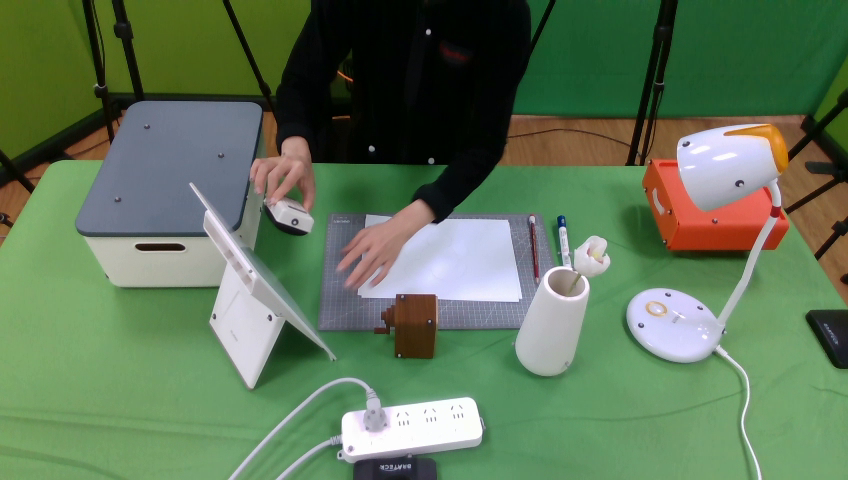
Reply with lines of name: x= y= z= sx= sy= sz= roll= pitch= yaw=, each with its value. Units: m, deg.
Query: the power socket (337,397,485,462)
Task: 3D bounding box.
power socket: x=-0.018 y=0.285 z=0.915 sx=0.227 sy=0.033 sz=0.071 roll=-5 pitch=46 yaw=-8

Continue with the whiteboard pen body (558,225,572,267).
whiteboard pen body: x=0.280 y=0.010 z=1.207 sx=0.017 sy=0.017 sz=0.140 roll=3 pitch=50 yaw=-1

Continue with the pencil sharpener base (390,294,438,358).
pencil sharpener base: x=-0.018 y=0.142 z=1.000 sx=0.077 sy=0.107 sz=0.061 roll=1 pitch=47 yaw=-2

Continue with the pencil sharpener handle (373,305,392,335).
pencil sharpener handle: x=-0.069 y=0.133 z=0.989 sx=0.030 sy=0.068 sz=0.036 roll=1 pitch=46 yaw=-2

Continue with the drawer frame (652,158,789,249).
drawer frame: x=0.571 y=-0.075 z=1.214 sx=0.214 sy=0.083 sz=0.200 roll=0 pitch=45 yaw=-1

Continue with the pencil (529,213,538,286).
pencil: x=0.219 y=0.016 z=1.204 sx=0.012 sy=0.012 sz=0.193 roll=5 pitch=48 yaw=0

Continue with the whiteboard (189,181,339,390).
whiteboard: x=-0.292 y=0.096 z=0.929 sx=0.144 sy=0.307 sz=0.216 roll=-37 pitch=57 yaw=-10

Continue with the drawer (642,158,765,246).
drawer: x=0.566 y=-0.076 z=1.211 sx=0.212 sy=0.073 sz=0.193 roll=2 pitch=45 yaw=-2

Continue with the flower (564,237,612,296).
flower: x=0.206 y=0.088 z=0.893 sx=0.038 sy=0.363 sz=0.044 roll=-17 pitch=67 yaw=-9

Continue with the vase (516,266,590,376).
vase: x=0.208 y=0.132 z=0.964 sx=0.098 sy=0.201 sz=0.097 roll=3 pitch=46 yaw=-3

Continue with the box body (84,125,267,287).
box body: x=-0.446 y=-0.088 z=1.150 sx=0.254 sy=0.161 sz=0.361 roll=-1 pitch=46 yaw=-5

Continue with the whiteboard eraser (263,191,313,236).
whiteboard eraser: x=-0.213 y=-0.040 z=0.935 sx=0.056 sy=0.042 sz=0.112 roll=18 pitch=11 yaw=-30

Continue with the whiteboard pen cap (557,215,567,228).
whiteboard pen cap: x=0.284 y=-0.035 z=1.245 sx=0.018 sy=0.018 sz=0.033 roll=4 pitch=52 yaw=-1

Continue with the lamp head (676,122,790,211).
lamp head: x=0.423 y=-0.104 z=0.819 sx=0.122 sy=0.113 sz=0.112 roll=-13 pitch=33 yaw=39

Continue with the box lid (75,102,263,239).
box lid: x=-0.443 y=-0.138 z=1.094 sx=0.263 sy=0.015 sz=0.369 roll=-1 pitch=47 yaw=-5

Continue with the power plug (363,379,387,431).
power plug: x=-0.072 y=0.252 z=0.910 sx=0.035 sy=0.053 sz=0.072 roll=3 pitch=45 yaw=-1

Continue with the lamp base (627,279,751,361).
lamp base: x=0.460 y=0.100 z=1.027 sx=0.178 sy=0.181 sz=0.160 roll=27 pitch=51 yaw=17
